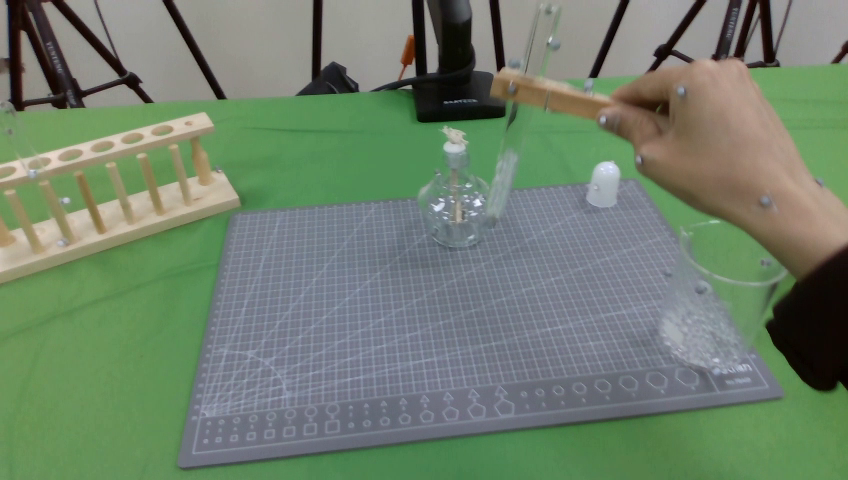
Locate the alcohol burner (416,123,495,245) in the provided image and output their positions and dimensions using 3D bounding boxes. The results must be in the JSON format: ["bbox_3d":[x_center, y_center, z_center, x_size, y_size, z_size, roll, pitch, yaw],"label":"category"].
[{"bbox_3d":[0.029,-0.056,0.580,0.078,0.120,0.077,-2,39,2],"label":"alcohol burner"}]

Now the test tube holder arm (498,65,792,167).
[{"bbox_3d":[0.128,-0.078,0.369,0.177,0.015,0.013,20,42,16],"label":"test tube holder arm"}]

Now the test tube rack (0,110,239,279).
[{"bbox_3d":[-0.322,-0.050,0.607,0.243,0.086,0.066,-21,44,-22],"label":"test tube rack"}]

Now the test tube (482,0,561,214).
[{"bbox_3d":[0.061,-0.082,0.397,0.017,0.151,0.017,8,34,-5],"label":"test tube"}]

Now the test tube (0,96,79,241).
[{"bbox_3d":[-0.351,-0.061,0.551,0.017,0.152,0.017,-2,39,2],"label":"test tube"}]

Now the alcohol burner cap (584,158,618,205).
[{"bbox_3d":[0.189,-0.064,0.643,0.034,0.048,0.033,-1,40,1],"label":"alcohol burner cap"}]

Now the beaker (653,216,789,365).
[{"bbox_3d":[0.222,0.041,0.472,0.074,0.101,0.083,-25,45,-26],"label":"beaker"}]

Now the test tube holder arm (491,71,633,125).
[{"bbox_3d":[0.085,-0.089,0.377,0.087,0.015,0.010,16,41,12],"label":"test tube holder arm"}]
